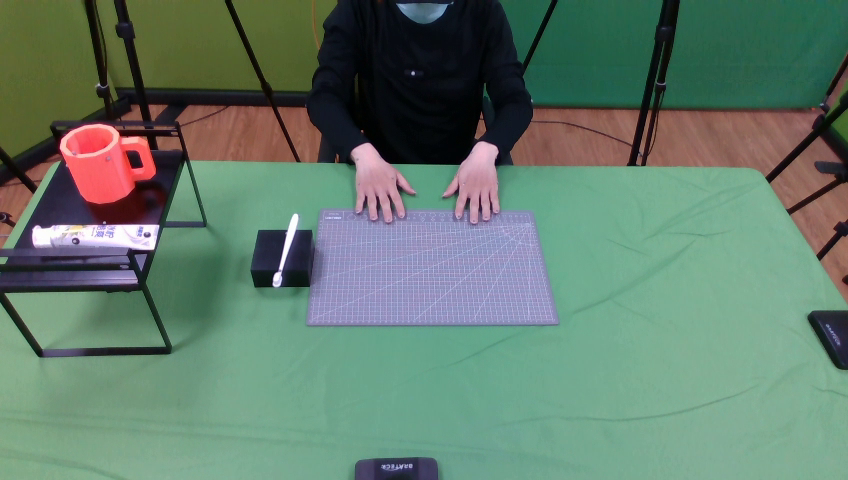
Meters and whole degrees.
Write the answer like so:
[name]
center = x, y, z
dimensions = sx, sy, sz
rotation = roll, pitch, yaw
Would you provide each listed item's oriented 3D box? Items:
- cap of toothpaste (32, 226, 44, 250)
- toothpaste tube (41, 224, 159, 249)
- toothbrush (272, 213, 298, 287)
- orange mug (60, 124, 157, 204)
[cap of toothpaste]
center = -0.569, -0.004, 0.899
dimensions = 0.011, 0.037, 0.037
rotation = -2, 46, -11
[toothpaste tube]
center = -0.491, -0.004, 0.913
dimensions = 0.165, 0.035, 0.054
rotation = -2, 50, -12
[toothbrush]
center = -0.252, 0.012, 1.104
dimensions = 0.014, 0.017, 0.181
rotation = 1, 46, 2
[orange mug]
center = -0.505, -0.127, 0.980
dimensions = 0.126, 0.101, 0.083
rotation = -13, 48, -10
